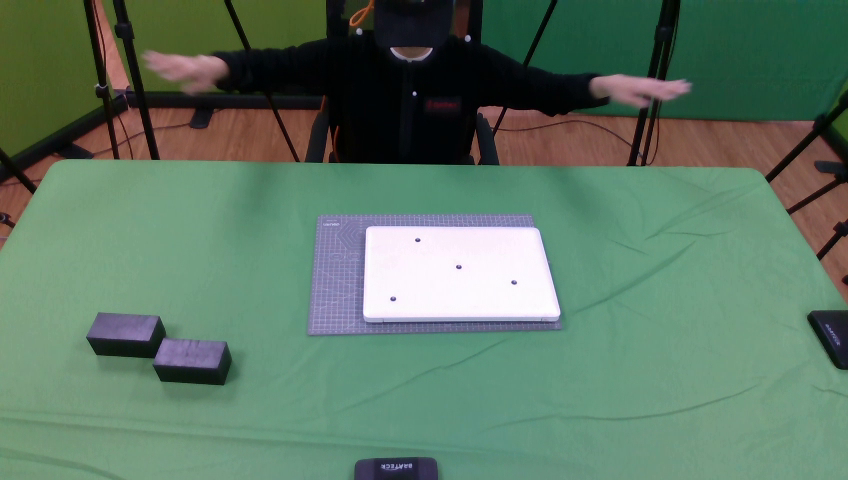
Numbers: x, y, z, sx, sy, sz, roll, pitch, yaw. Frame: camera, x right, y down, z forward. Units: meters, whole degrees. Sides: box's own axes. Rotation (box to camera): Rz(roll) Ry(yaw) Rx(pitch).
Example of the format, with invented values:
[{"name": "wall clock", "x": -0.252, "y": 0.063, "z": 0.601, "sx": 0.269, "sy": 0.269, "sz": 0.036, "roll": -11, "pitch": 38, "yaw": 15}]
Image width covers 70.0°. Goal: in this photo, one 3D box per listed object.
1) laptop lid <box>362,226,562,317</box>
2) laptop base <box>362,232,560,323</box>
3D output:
[{"name": "laptop lid", "x": 0.064, "y": 0.053, "z": 1.136, "sx": 0.357, "sy": 0.013, "sz": 0.240, "roll": 1, "pitch": 44, "yaw": -3}, {"name": "laptop base", "x": 0.064, "y": 0.063, "z": 1.143, "sx": 0.355, "sy": 0.023, "sz": 0.234, "roll": 0, "pitch": 43, "yaw": -4}]
